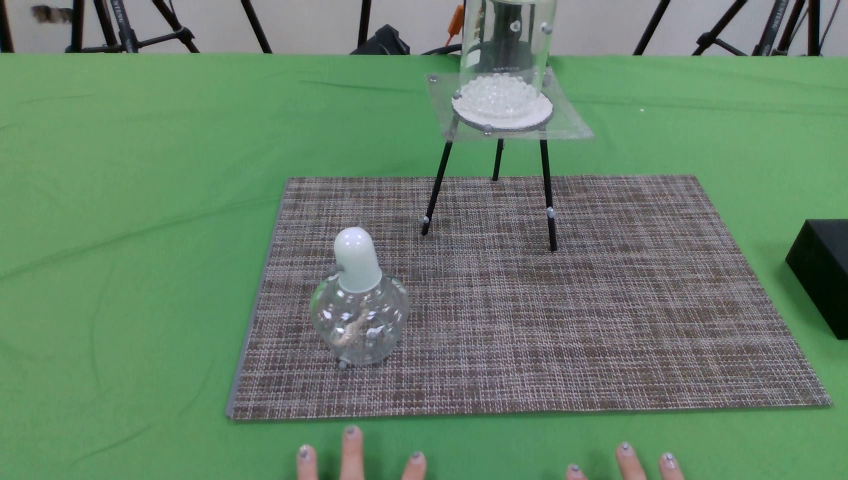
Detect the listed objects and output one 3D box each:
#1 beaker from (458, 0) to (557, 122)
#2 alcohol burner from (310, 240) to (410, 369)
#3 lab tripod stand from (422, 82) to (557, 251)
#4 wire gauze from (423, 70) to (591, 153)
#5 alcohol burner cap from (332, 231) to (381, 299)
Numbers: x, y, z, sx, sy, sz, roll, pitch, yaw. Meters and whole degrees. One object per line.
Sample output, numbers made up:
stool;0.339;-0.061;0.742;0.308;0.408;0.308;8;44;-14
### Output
beaker;0.066;-0.157;0.496;0.073;0.101;0.084;24;45;22
alcohol burner;-0.049;0.042;0.456;0.078;0.120;0.077;2;43;-1
lab tripod stand;0.070;-0.068;0.569;0.148;0.132;0.147;2;41;-1
wire gauze;0.068;-0.114;0.522;0.125;0.011;0.120;-1;43;-9
alcohol burner cap;-0.050;0.015;0.433;0.034;0.048;0.033;-3;40;3
